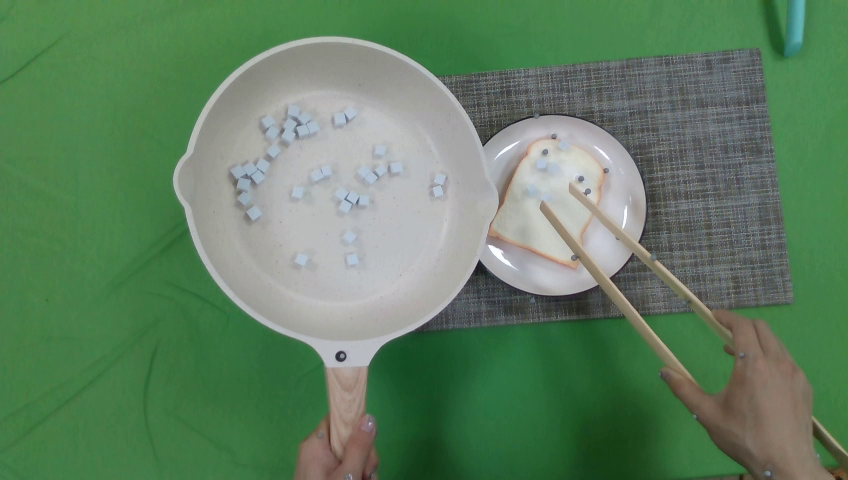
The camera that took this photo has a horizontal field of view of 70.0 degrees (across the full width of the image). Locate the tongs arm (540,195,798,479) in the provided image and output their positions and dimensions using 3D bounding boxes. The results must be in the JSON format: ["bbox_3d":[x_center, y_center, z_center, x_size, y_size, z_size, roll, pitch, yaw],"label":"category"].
[{"bbox_3d":[0.236,0.096,0.569,0.028,0.028,0.384,-33,67,-11],"label":"tongs arm"}]

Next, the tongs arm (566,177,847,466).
[{"bbox_3d":[0.256,0.082,0.572,0.051,0.027,0.381,-39,68,-10],"label":"tongs arm"}]

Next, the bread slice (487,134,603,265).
[{"bbox_3d":[0.141,-0.052,0.690,0.107,0.018,0.134,19,88,3],"label":"bread slice"}]

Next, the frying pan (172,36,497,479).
[{"bbox_3d":[-0.077,0.055,0.578,0.308,0.102,0.485,2,79,-18],"label":"frying pan"}]

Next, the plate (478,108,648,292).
[{"bbox_3d":[0.144,-0.044,0.688,0.207,0.039,0.207,0,85,2],"label":"plate"}]

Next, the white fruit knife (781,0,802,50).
[{"bbox_3d":[0.417,-0.325,0.687,0.016,0.027,0.208,-4,99,0],"label":"white fruit knife"}]
